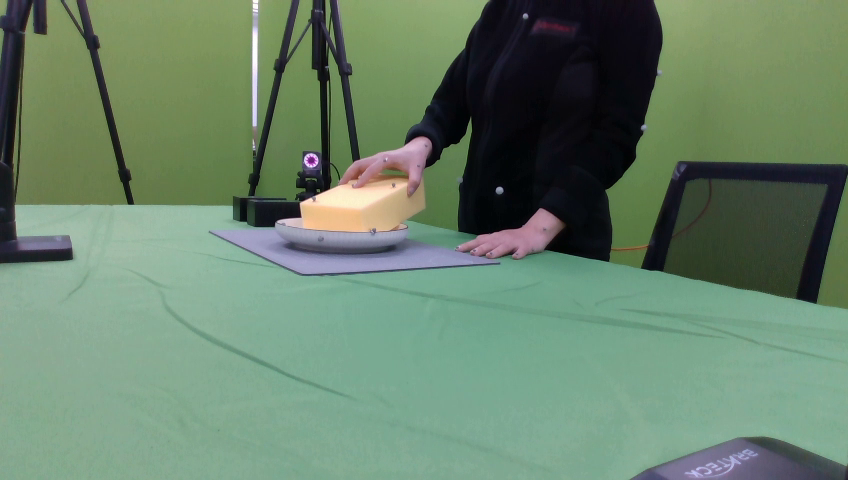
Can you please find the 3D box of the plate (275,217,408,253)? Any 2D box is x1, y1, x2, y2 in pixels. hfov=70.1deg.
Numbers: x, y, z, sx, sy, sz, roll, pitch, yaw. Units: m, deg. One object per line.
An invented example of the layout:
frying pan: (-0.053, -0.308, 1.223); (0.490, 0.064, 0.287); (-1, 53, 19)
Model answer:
plate: (-0.129, -0.009, 0.954); (0.209, 0.038, 0.209); (2, 7, 0)

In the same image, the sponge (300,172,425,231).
sponge: (-0.096, -0.059, 1.014); (0.118, 0.061, 0.207); (6, 22, 26)
